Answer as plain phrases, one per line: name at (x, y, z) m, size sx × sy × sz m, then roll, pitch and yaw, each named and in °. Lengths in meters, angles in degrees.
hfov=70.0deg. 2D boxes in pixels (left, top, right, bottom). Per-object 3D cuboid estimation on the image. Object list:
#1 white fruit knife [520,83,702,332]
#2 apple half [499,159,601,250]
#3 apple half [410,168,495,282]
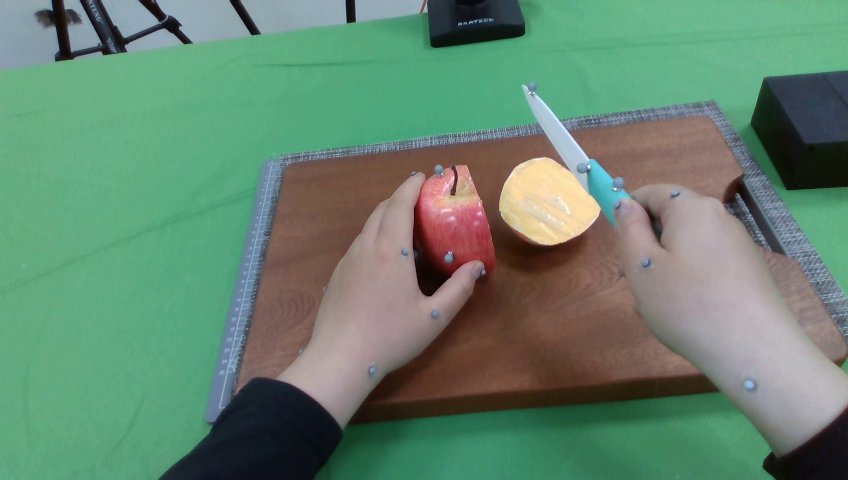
white fruit knife at (0.104, -0.035, 0.371) m, size 0.016 × 0.027 × 0.205 m, roll -15°, pitch 53°, yaw -15°
apple half at (0.096, -0.021, 0.477) m, size 0.081 × 0.033 × 0.080 m, roll -2°, pitch 61°, yaw 4°
apple half at (0.018, -0.007, 0.447) m, size 0.053 × 0.075 × 0.080 m, roll -16°, pitch 48°, yaw 0°
